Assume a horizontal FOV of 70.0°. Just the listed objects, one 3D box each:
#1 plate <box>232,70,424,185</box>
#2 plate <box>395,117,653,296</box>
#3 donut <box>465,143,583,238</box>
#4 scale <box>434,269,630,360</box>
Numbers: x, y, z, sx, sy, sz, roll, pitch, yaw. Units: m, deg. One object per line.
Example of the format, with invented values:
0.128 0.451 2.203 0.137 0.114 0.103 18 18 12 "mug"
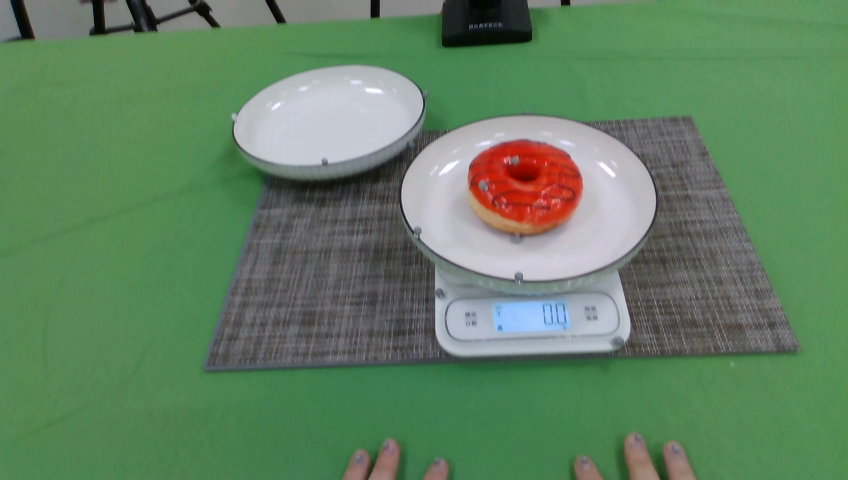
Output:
-0.102 -0.123 0.667 0.209 0.038 0.207 -4 43 4 "plate"
0.081 -0.029 0.508 0.207 0.039 0.205 -3 45 3 "plate"
0.082 -0.041 0.504 0.099 0.049 0.098 -1 46 1 "donut"
0.083 0.010 0.515 0.148 0.032 0.199 -3 45 4 "scale"
